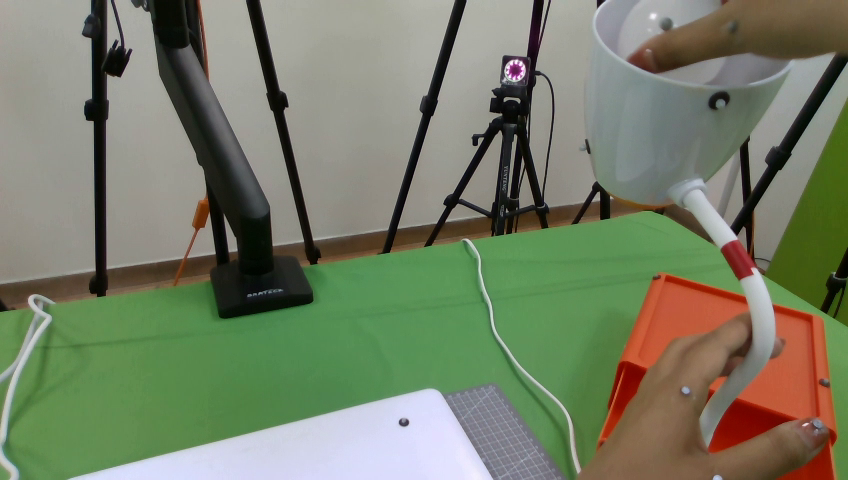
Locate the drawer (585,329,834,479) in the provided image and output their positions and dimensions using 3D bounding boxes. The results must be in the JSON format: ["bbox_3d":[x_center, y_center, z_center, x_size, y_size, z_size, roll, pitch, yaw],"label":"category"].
[{"bbox_3d":[0.280,0.182,0.593,0.193,0.074,0.211,15,30,21],"label":"drawer"}]

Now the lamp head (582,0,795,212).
[{"bbox_3d":[0.152,-0.078,0.379,0.112,0.124,0.111,-1,43,1],"label":"lamp head"}]

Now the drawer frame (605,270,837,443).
[{"bbox_3d":[0.330,0.136,0.681,0.200,0.083,0.213,16,30,22],"label":"drawer frame"}]

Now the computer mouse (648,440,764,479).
[{"bbox_3d":[0.258,0.221,0.548,0.117,0.041,0.062,16,30,14],"label":"computer mouse"}]

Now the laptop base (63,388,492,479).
[{"bbox_3d":[-0.105,0.242,0.494,0.356,0.023,0.233,-8,34,-22],"label":"laptop base"}]

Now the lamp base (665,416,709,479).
[{"bbox_3d":[0.173,0.220,0.396,0.161,0.181,0.177,1,26,-8],"label":"lamp base"}]

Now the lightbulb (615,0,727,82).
[{"bbox_3d":[0.143,-0.098,0.364,0.059,0.109,0.059,-5,48,6],"label":"lightbulb"}]

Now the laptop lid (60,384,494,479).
[{"bbox_3d":[-0.104,0.232,0.486,0.358,0.013,0.239,-8,33,-21],"label":"laptop lid"}]
